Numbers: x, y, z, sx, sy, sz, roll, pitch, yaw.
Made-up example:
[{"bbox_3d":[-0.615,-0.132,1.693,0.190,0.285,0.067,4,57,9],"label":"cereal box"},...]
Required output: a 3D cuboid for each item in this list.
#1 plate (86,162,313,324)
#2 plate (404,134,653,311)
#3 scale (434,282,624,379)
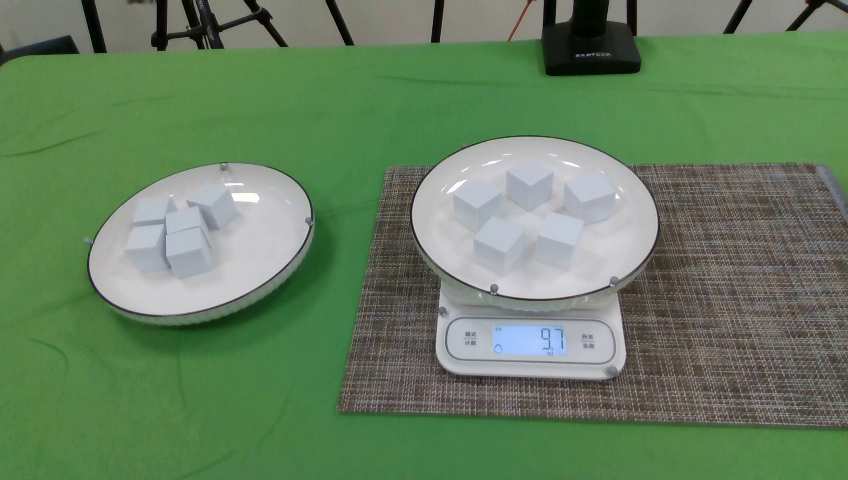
[{"bbox_3d":[-0.208,0.002,0.583,0.209,0.038,0.207,-2,45,3],"label":"plate"},{"bbox_3d":[0.088,-0.016,0.526,0.207,0.039,0.205,-2,45,2],"label":"plate"},{"bbox_3d":[0.089,0.027,0.529,0.148,0.032,0.199,1,46,7],"label":"scale"}]
